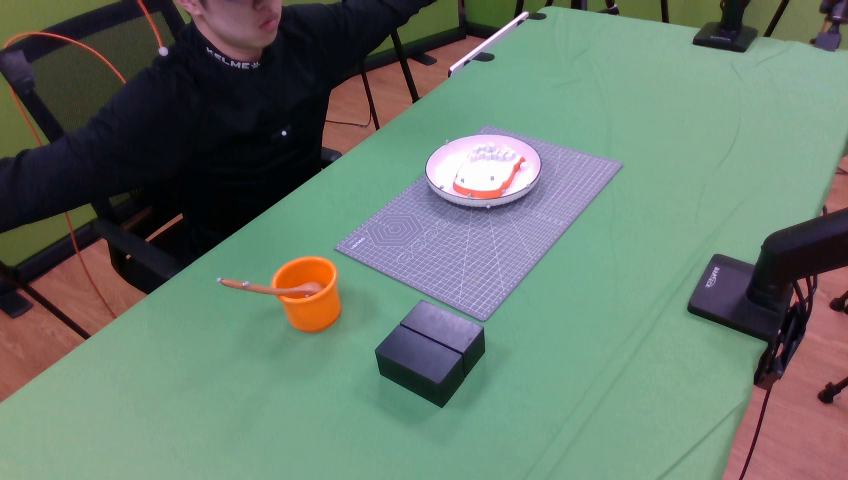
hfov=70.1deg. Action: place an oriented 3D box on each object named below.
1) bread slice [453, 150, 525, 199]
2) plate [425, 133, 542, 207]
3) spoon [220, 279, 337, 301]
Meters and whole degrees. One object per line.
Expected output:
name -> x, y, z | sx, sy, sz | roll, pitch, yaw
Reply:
bread slice -> 0.112, -0.118, 1.079 | 0.104, 0.019, 0.131 | 11, 42, 21
plate -> 0.106, -0.121, 1.079 | 0.209, 0.038, 0.208 | -4, 41, 4
spoon -> -0.189, 0.068, 0.813 | 0.041, 0.021, 0.195 | 33, 15, 36
